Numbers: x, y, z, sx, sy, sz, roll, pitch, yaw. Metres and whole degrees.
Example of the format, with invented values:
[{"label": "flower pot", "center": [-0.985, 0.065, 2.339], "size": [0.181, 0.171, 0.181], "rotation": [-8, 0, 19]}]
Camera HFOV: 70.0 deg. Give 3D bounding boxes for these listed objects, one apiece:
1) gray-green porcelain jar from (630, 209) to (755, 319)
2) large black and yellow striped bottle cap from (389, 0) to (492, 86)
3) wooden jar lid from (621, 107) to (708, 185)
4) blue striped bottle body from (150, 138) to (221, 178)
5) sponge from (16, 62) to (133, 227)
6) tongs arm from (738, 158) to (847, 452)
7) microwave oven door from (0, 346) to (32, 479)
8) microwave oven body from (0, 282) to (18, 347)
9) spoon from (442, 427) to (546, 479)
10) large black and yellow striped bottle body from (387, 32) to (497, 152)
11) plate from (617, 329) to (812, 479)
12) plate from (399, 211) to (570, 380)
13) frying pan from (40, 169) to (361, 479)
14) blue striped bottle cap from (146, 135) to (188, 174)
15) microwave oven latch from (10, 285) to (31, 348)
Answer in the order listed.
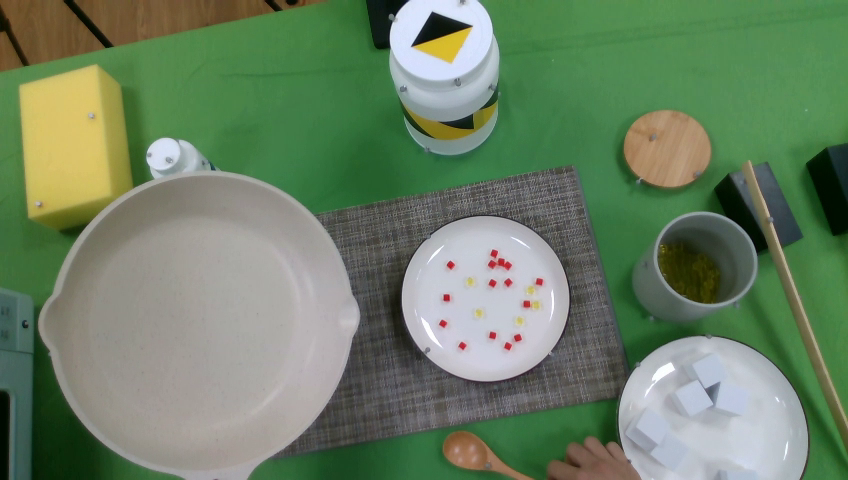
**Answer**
[{"label": "gray-green porcelain jar", "center": [0.299, 0.033, 0.695], "size": [0.106, 0.127, 0.105], "rotation": [-1, 75, 5]}, {"label": "large black and yellow striped bottle cap", "center": [0.018, -0.227, 0.674], "size": [0.115, 0.019, 0.114], "rotation": [-1, 76, 5]}, {"label": "wooden jar lid", "center": [0.312, -0.120, 0.790], "size": [0.108, 0.021, 0.108], "rotation": [-1, 76, 5]}, {"label": "blue striped bottle body", "center": [-0.308, -0.090, 0.789], "size": [0.063, 0.121, 0.062], "rotation": [-1, 75, 6]}, {"label": "sponge", "center": [-0.488, -0.133, 0.848], "size": [0.118, 0.061, 0.205], "rotation": [-16, 75, 1]}, {"label": "tongs arm", "center": [0.443, 0.083, 0.685], "size": [0.051, 0.026, 0.383], "rotation": [-16, 84, -1]}, {"label": "microwave oven door", "center": [-0.508, 0.281, 0.628], "size": [0.039, 0.245, 0.353], "rotation": [-11, 74, 3]}, {"label": "microwave oven body", "center": [-0.657, 0.268, 0.651], "size": [0.326, 0.261, 0.439], "rotation": [-10, 75, 2]}, {"label": "spoon", "center": [0.110, 0.268, 0.695], "size": [0.192, 0.022, 0.041], "rotation": [20, 77, 21]}, {"label": "large black and yellow striped bottle body", "center": [0.026, -0.203, 0.754], "size": [0.130, 0.185, 0.130], "rotation": [-1, 74, 5]}, {"label": "plate", "center": [0.324, 0.207, 0.693], "size": [0.207, 0.039, 0.206], "rotation": [-1, 75, 6]}, {"label": "plate", "center": [0.074, 0.067, 0.750], "size": [0.209, 0.038, 0.208], "rotation": [-1, 75, 6]}, {"label": "frying pan", "center": [-0.201, 0.178, 0.589], "size": [0.309, 0.102, 0.485], "rotation": [5, 73, -38]}, {"label": "blue striped bottle cap", "center": [-0.314, -0.105, 0.740], "size": [0.044, 0.021, 0.044], "rotation": [-1, 77, 5]}, {"label": "microwave oven latch", "center": [-0.532, 0.099, 0.784], "size": [0.030, 0.029, 0.078], "rotation": [-5, 75, 4]}]
